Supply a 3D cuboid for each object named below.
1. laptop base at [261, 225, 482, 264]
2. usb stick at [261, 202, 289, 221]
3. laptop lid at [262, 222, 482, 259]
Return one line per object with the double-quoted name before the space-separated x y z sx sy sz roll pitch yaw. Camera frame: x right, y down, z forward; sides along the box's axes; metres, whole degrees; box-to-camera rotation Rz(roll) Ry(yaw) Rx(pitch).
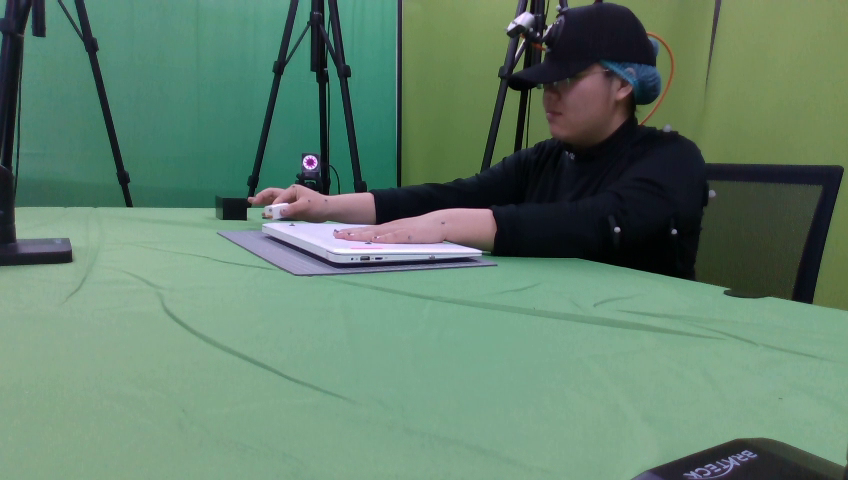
"laptop base" -0.101 0.007 0.965 0.237 0.023 0.352 2 6 -31
"usb stick" -0.281 -0.052 1.132 0.021 0.027 0.059 6 21 29
"laptop lid" -0.098 -0.003 0.965 0.243 0.013 0.355 2 7 -29
